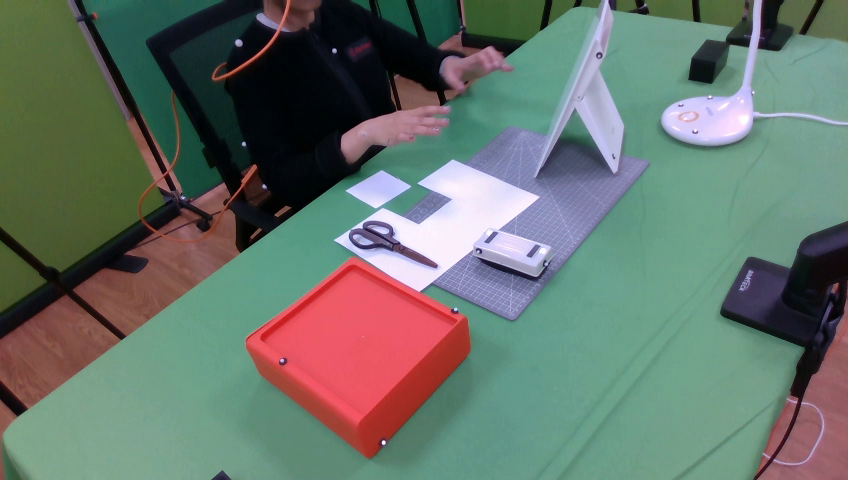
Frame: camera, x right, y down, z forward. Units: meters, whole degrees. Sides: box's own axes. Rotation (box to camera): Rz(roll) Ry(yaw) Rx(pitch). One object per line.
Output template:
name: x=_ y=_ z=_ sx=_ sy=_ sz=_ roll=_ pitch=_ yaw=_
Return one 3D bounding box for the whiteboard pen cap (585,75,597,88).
whiteboard pen cap: x=0.362 y=-0.343 z=1.310 sx=0.018 sy=0.018 sz=0.033 roll=19 pitch=54 yaw=29

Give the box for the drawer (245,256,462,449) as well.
drawer: x=-0.089 y=0.136 z=0.792 sx=0.210 sy=0.073 sz=0.195 roll=27 pitch=51 yaw=34

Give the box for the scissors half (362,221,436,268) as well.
scissors half: x=-0.040 y=0.007 z=0.988 sx=0.040 sy=0.013 sz=0.173 roll=-20 pitch=38 yaw=-36

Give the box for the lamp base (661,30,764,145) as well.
lamp base: x=0.535 y=-0.287 z=1.095 sx=0.179 sy=0.181 sz=0.159 roll=-10 pitch=40 yaw=-4

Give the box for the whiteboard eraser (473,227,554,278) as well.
whiteboard eraser: x=0.134 y=0.020 z=0.913 sx=0.112 sy=0.042 sz=0.056 roll=20 pitch=50 yaw=29

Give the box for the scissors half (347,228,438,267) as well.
scissors half: x=-0.054 y=0.015 z=0.974 sx=0.174 sy=0.013 sz=0.040 roll=19 pitch=38 yaw=24

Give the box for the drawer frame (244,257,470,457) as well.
drawer frame: x=-0.084 y=0.138 z=0.788 sx=0.212 sy=0.083 sz=0.202 roll=25 pitch=50 yaw=33

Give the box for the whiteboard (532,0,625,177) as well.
whiteboard: x=0.320 y=-0.259 z=1.050 sx=0.144 sy=0.306 sz=0.217 roll=21 pitch=45 yaw=5

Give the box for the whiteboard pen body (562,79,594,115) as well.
whiteboard pen body: x=0.328 y=-0.306 z=1.277 sx=0.017 sy=0.017 sz=0.141 roll=20 pitch=52 yaw=30
